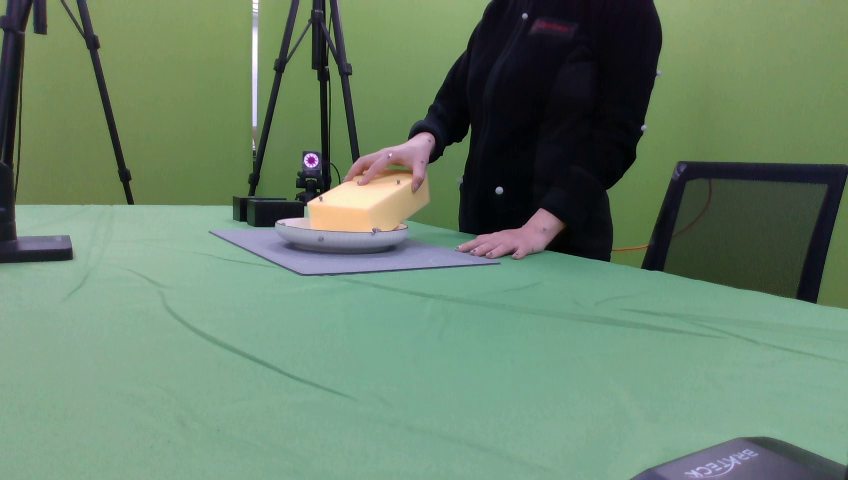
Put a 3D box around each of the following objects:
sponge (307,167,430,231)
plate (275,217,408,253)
[{"bbox_3d":[-0.088,-0.065,1.030,0.118,0.061,0.207,6,25,26],"label":"sponge"},{"bbox_3d":[-0.129,-0.009,0.954,0.209,0.038,0.209,2,7,0],"label":"plate"}]
